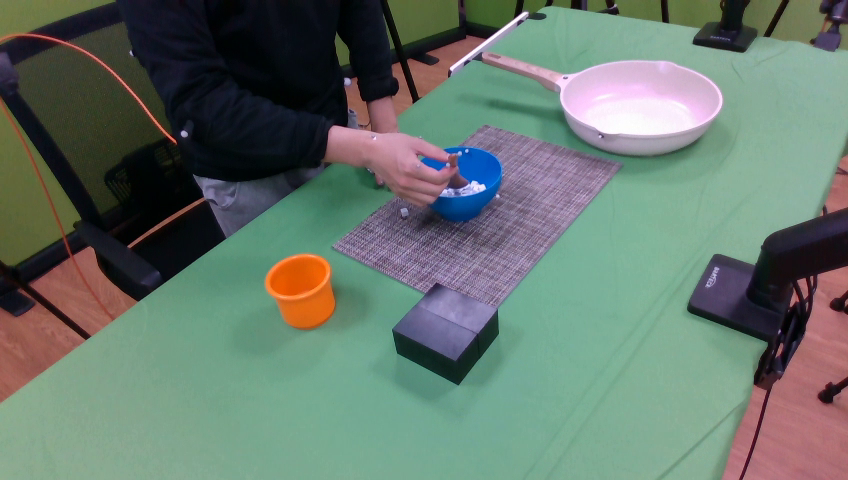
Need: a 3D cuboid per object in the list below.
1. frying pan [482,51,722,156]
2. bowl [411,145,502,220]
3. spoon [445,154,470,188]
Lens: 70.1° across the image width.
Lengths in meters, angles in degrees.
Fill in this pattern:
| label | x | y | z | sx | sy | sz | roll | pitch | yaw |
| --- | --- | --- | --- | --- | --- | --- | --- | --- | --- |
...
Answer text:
| label | x | y | z | sx | sy | sz | roll | pitch | yaw |
| --- | --- | --- | --- | --- | --- | --- | --- | --- | --- |
| frying pan | 0.326 | -0.298 | 1.205 | 0.484 | 0.103 | 0.307 | 28 | 51 | 23 |
| bowl | 0.057 | -0.086 | 1.010 | 0.151 | 0.077 | 0.150 | -4 | 41 | 4 |
| spoon | 0.046 | -0.102 | 0.900 | 0.041 | 0.194 | 0.021 | -6 | 80 | 5 |
